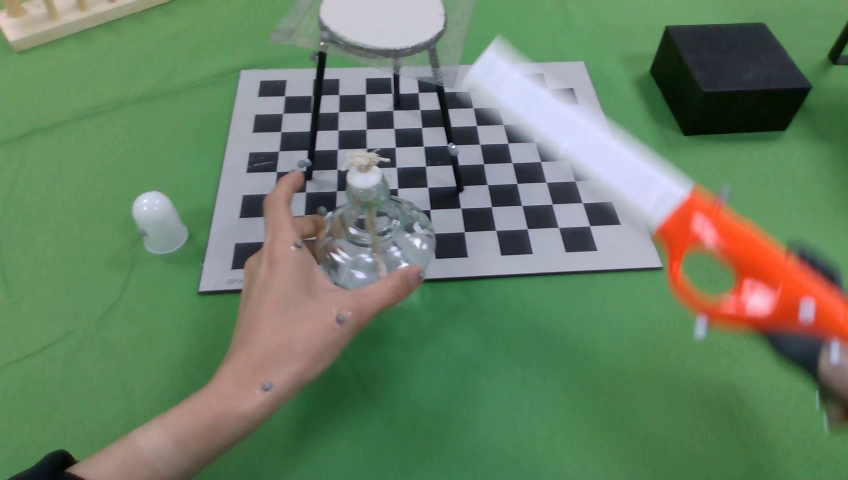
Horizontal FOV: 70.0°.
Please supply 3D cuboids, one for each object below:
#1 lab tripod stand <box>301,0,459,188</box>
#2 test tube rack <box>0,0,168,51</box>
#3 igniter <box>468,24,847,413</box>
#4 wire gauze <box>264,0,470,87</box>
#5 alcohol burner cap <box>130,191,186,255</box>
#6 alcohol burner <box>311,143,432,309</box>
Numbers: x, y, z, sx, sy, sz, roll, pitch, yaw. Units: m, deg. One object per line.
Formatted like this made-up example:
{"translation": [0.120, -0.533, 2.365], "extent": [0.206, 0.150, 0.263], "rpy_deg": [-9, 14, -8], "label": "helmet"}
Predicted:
{"translation": [-0.030, -0.116, 0.471], "extent": [0.148, 0.132, 0.147], "rpy_deg": [2, 51, -2], "label": "lab tripod stand"}
{"translation": [-0.336, -0.291, 0.635], "extent": [0.242, 0.086, 0.066], "rpy_deg": [-31, 59, -24], "label": "test tube rack"}
{"translation": [0.128, -0.010, 0.295], "extent": [0.275, 0.025, 0.057], "rpy_deg": [45, 101, 14], "label": "igniter"}
{"translation": [-0.031, -0.155, 0.416], "extent": [0.125, 0.011, 0.120], "rpy_deg": [12, 51, 5], "label": "wire gauze"}
{"translation": [-0.200, -0.016, 0.449], "extent": [0.034, 0.048, 0.033], "rpy_deg": [2, 52, -2], "label": "alcohol burner cap"}
{"translation": [-0.035, -0.010, 0.381], "extent": [0.078, 0.120, 0.077], "rpy_deg": [-2, 49, 2], "label": "alcohol burner"}
